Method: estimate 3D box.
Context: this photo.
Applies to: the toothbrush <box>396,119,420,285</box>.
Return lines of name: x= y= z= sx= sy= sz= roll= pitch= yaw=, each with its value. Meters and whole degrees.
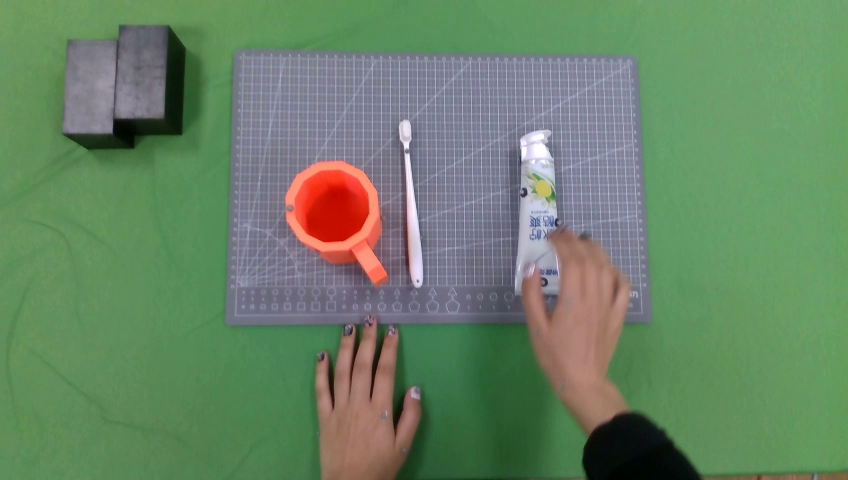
toothbrush: x=-0.016 y=-0.042 z=0.648 sx=0.014 sy=0.016 sz=0.181 roll=-3 pitch=84 yaw=-19

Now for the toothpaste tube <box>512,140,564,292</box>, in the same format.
toothpaste tube: x=0.119 y=-0.027 z=0.649 sx=0.055 sy=0.034 sz=0.164 roll=-2 pitch=86 yaw=4

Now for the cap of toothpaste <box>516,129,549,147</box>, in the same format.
cap of toothpaste: x=0.118 y=-0.109 z=0.654 sx=0.037 sy=0.037 sz=0.011 roll=-13 pitch=80 yaw=-5

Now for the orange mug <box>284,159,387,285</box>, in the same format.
orange mug: x=-0.078 y=-0.012 z=0.600 sx=0.083 sy=0.101 sz=0.125 roll=-34 pitch=80 yaw=-7
